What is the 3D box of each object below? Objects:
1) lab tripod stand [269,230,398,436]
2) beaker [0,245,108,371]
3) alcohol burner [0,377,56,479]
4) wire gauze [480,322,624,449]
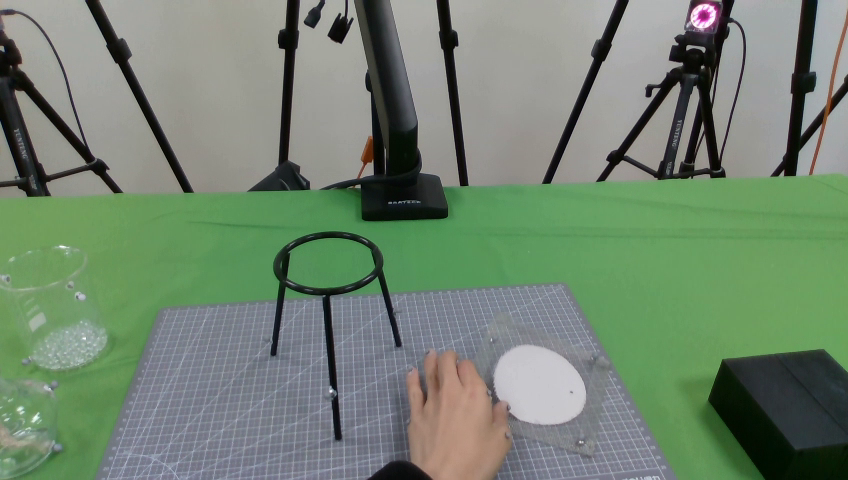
[{"bbox_3d":[-0.080,0.072,0.529,0.148,0.132,0.147,3,33,-2],"label":"lab tripod stand"},{"bbox_3d":[-0.343,0.064,0.566,0.074,0.101,0.083,4,31,3],"label":"beaker"},{"bbox_3d":[-0.327,0.123,0.457,0.078,0.120,0.077,2,30,-1],"label":"alcohol burner"},{"bbox_3d":[0.110,0.123,0.535,0.125,0.011,0.120,14,35,-9],"label":"wire gauze"}]
